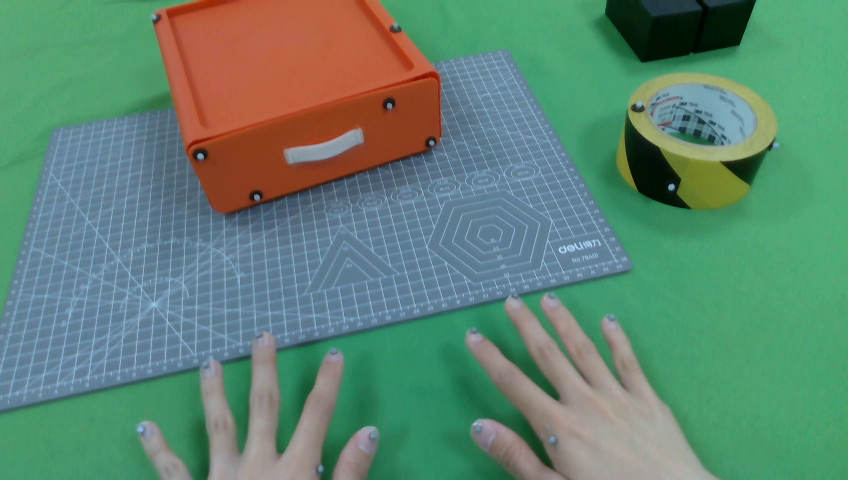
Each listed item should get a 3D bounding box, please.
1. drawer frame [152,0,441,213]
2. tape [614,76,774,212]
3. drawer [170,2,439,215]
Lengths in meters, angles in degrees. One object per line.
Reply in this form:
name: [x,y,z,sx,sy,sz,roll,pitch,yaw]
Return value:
drawer frame: [-0.118,-0.143,0.541,0.202,0.083,0.211,-21,50,-13]
tape: [0.214,-0.081,0.490,0.117,0.053,0.115,-1,49,2]
drawer: [-0.116,-0.138,0.539,0.195,0.074,0.209,-20,50,-12]
